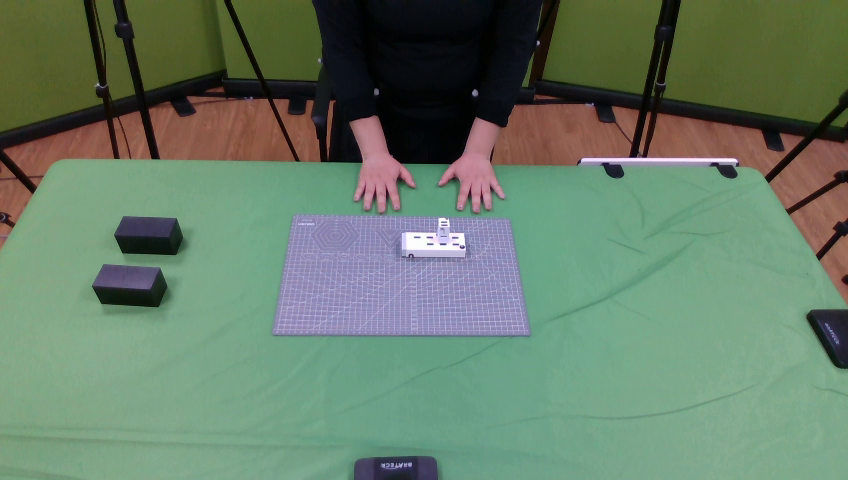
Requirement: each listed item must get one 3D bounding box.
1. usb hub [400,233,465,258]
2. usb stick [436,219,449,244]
[{"bbox_3d":[0.017,0.011,1.182,0.125,0.025,0.049,1,46,-3],"label":"usb hub"},{"bbox_3d":[0.035,-0.012,1.166,0.021,0.059,0.027,-2,48,-6],"label":"usb stick"}]
